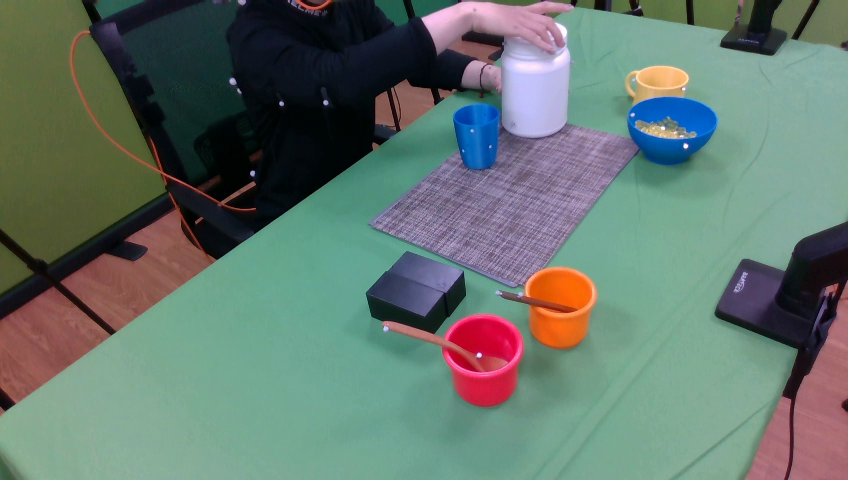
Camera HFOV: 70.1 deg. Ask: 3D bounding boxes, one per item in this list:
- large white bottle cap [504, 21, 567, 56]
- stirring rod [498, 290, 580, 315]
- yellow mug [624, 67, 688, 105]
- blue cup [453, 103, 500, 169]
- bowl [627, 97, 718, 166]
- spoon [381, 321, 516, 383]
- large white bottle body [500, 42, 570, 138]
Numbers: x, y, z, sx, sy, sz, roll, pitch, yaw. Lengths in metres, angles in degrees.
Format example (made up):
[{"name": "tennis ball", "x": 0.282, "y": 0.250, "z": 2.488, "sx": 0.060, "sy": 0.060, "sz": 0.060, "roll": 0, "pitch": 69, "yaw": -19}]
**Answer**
[{"name": "large white bottle cap", "x": 0.206, "y": -0.373, "z": 1.115, "sx": 0.115, "sy": 0.018, "sz": 0.114, "roll": -5, "pitch": 41, "yaw": 5}, {"name": "stirring rod", "x": 0.151, "y": 0.081, "z": 0.772, "sx": 0.178, "sy": 0.006, "sz": 0.014, "roll": 16, "pitch": 19, "yaw": -45}, {"name": "yellow mug", "x": 0.464, "y": -0.305, "z": 1.230, "sx": 0.100, "sy": 0.064, "sz": 0.129, "roll": -34, "pitch": 46, "yaw": -27}, {"name": "blue cup", "x": 0.099, "y": -0.188, "z": 1.114, "sx": 0.092, "sy": 0.100, "sz": 0.092, "roll": -4, "pitch": 39, "yaw": 4}, {"name": "bowl", "x": 0.439, "y": -0.187, "z": 1.087, "sx": 0.151, "sy": 0.077, "sz": 0.150, "roll": -4, "pitch": 41, "yaw": 4}, {"name": "spoon", "x": 0.033, "y": 0.131, "z": 0.725, "sx": 0.195, "sy": 0.021, "sz": 0.041, "roll": 29, "pitch": 30, "yaw": -26}, {"name": "large white bottle body", "x": 0.214, "y": -0.308, "z": 1.173, "sx": 0.130, "sy": 0.185, "sz": 0.130, "roll": -4, "pitch": 41, "yaw": 4}]
